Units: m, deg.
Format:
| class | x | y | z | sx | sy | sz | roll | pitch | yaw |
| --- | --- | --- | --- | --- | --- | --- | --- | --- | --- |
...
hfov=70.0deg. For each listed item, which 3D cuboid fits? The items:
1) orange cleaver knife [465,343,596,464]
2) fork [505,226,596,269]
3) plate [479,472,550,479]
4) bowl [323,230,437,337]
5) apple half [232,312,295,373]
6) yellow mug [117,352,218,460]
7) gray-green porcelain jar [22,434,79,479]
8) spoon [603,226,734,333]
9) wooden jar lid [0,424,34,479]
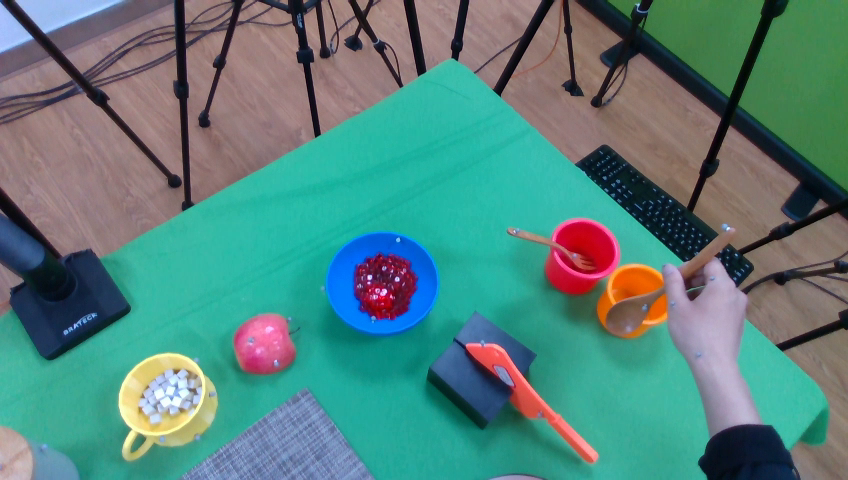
| class | x | y | z | sx | sy | sz | roll | pitch | yaw |
| --- | --- | --- | --- | --- | --- | --- | --- | --- | --- |
| orange cleaver knife | 0.132 | 0.205 | 0.767 | 0.211 | 0.077 | 0.012 | 48 | 59 | -4 |
| fork | 0.180 | 0.011 | 0.841 | 0.209 | 0.018 | 0.028 | 21 | 49 | -43 |
| plate | 0.109 | 0.377 | 0.696 | 0.209 | 0.038 | 0.207 | 2 | 61 | -3 |
| bowl | -0.059 | 0.070 | 0.826 | 0.151 | 0.077 | 0.150 | 2 | 62 | -4 |
| apple half | -0.213 | 0.130 | 0.794 | 0.075 | 0.054 | 0.080 | -14 | 64 | -10 |
| yellow mug | -0.319 | 0.206 | 0.735 | 0.099 | 0.064 | 0.130 | 25 | 63 | 9 |
| gray-green porcelain jar | -0.447 | 0.269 | 0.654 | 0.106 | 0.127 | 0.105 | 2 | 61 | -4 |
| spoon | 0.272 | 0.048 | 0.681 | 0.041 | 0.194 | 0.021 | 37 | 43 | 0 |
| wooden jar lid | -0.443 | 0.238 | 0.600 | 0.108 | 0.021 | 0.107 | 2 | 60 | -2 |
